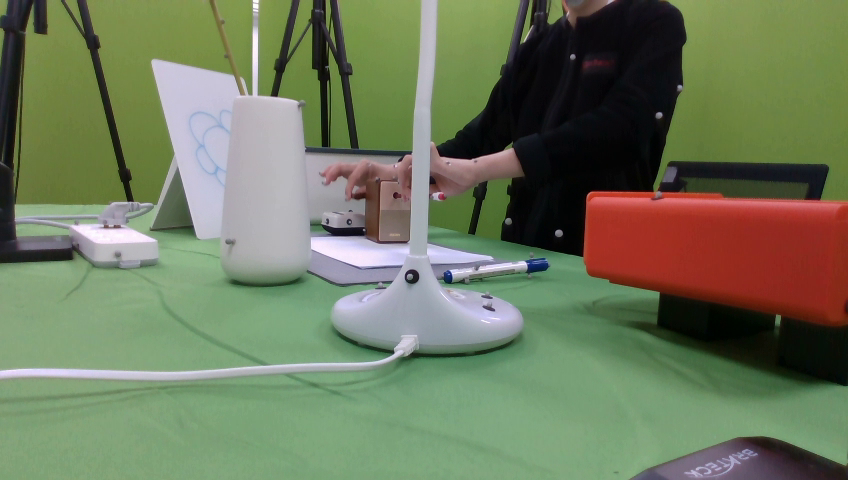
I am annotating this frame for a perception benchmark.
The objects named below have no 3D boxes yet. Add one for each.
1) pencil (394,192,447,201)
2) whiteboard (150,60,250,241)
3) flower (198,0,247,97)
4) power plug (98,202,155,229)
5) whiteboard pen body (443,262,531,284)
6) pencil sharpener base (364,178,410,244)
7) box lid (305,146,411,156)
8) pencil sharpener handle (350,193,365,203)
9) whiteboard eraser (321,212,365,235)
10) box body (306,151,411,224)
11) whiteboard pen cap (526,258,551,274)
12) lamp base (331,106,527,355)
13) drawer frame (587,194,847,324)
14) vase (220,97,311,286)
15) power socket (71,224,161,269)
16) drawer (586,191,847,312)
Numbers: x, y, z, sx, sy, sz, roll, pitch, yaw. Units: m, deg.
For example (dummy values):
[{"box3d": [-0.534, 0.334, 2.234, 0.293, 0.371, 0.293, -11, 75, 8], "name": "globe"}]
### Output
[{"box3d": [-0.014, -0.067, 0.933, 0.012, 0.012, 0.193, -1, 4, -27], "name": "pencil"}, {"box3d": [-0.408, -0.139, 1.093, 0.143, 0.305, 0.218, -15, -1, 26], "name": "whiteboard"}, {"box3d": [-0.187, -0.133, 0.648, 0.038, 0.362, 0.044, 0, 22, 43], "name": "flower"}, {"box3d": [-0.416, -0.027, 0.848, 0.073, 0.052, 0.035, 0, 8, -28], "name": "power plug"}, {"box3d": [0.088, 0.038, 0.734, 0.141, 0.017, 0.017, -5, 10, -27], "name": "whiteboard pen body"}, {"box3d": [-0.063, -0.051, 1.031, 0.061, 0.107, 0.076, -1, 8, -25], "name": "pencil sharpener base"}, {"box3d": [-0.229, -0.200, 1.360, 0.373, 0.015, 0.262, -3, 9, -33], "name": "box lid"}, {"box3d": [-0.096, -0.081, 1.067, 0.068, 0.036, 0.030, -18, 15, -22], "name": "pencil sharpener handle"}, {"box3d": [-0.128, -0.031, 1.108, 0.113, 0.042, 0.055, -3, 8, -38], "name": "whiteboard eraser"}, {"box3d": [-0.230, -0.126, 1.371, 0.366, 0.160, 0.253, -2, 8, -33], "name": "box body"}, {"box3d": [0.141, 0.033, 0.759, 0.033, 0.018, 0.018, -7, 11, -26], "name": "whiteboard pen cap"}, {"box3d": [0.006, -0.012, 0.478, 0.161, 0.180, 0.179, 2, 10, 2], "name": "lamp base"}, {"box3d": [0.285, 0.004, 0.508, 0.203, 0.082, 0.212, -1, 6, -29], "name": "drawer frame"}, {"box3d": [-0.172, -0.052, 0.662, 0.098, 0.200, 0.098, 3, 8, 0], "name": "vase"}, {"box3d": [-0.408, 0.004, 0.793, 0.072, 0.032, 0.225, -2, 8, -38], "name": "power socket"}, {"box3d": [0.281, 0.001, 0.512, 0.195, 0.073, 0.210, -1, 8, -29], "name": "drawer"}]
